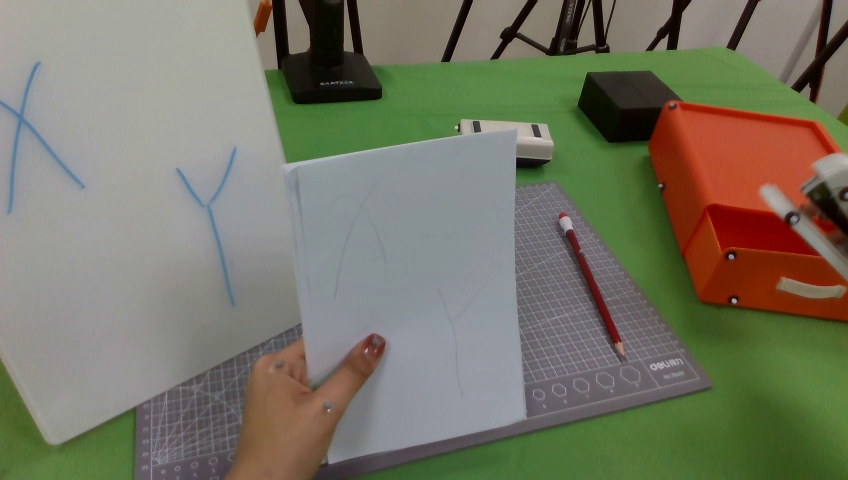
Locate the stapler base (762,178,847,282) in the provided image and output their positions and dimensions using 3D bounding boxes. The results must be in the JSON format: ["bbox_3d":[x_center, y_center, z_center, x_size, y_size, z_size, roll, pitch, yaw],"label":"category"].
[{"bbox_3d":[0.305,-0.003,0.454,0.131,0.024,0.041,41,34,-16],"label":"stapler base"}]

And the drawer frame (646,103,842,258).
[{"bbox_3d":[0.375,-0.061,0.683,0.202,0.083,0.211,7,40,0],"label":"drawer frame"}]

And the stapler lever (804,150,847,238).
[{"bbox_3d":[0.323,-0.017,0.442,0.119,0.040,0.026,41,34,-17],"label":"stapler lever"}]

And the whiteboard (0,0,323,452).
[{"bbox_3d":[-0.230,-0.050,0.448,0.217,0.308,0.142,-25,32,-31],"label":"whiteboard"}]

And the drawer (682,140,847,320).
[{"bbox_3d":[0.370,-0.019,0.637,0.194,0.074,0.210,7,41,1],"label":"drawer"}]

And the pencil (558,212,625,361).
[{"bbox_3d":[0.161,0.038,0.588,0.012,0.012,0.192,-1,44,-9],"label":"pencil"}]

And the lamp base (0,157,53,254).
[{"bbox_3d":[-0.437,-0.088,0.509,0.178,0.182,0.160,19,42,16],"label":"lamp base"}]

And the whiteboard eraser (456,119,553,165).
[{"bbox_3d":[0.097,-0.118,0.736,0.113,0.042,0.055,3,43,-6],"label":"whiteboard eraser"}]
